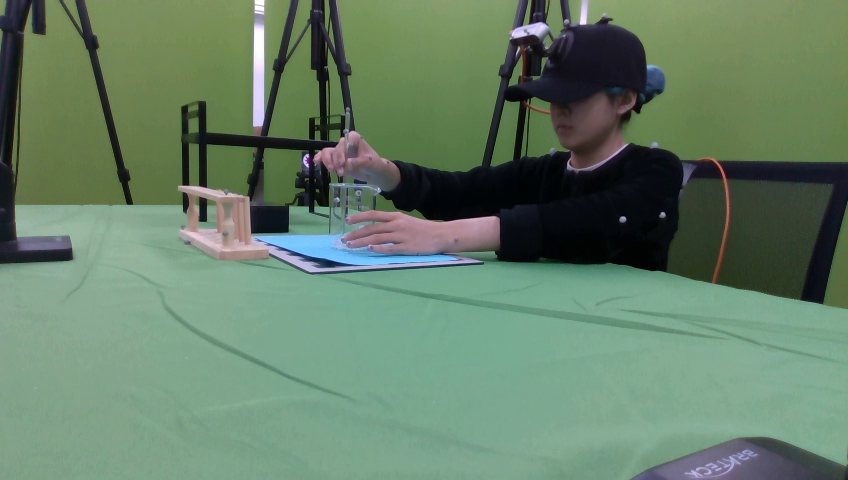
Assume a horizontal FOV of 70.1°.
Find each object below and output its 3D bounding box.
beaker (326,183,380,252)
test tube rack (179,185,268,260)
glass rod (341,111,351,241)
[{"bbox_3d":[-0.108,-0.035,0.921,0.084,0.100,0.074,5,8,14],"label":"beaker"},{"bbox_3d":[-0.303,-0.031,0.898,0.067,0.085,0.241,-2,9,-33],"label":"test tube rack"},{"bbox_3d":[-0.121,-0.096,0.930,0.008,0.199,0.008,4,8,0],"label":"glass rod"}]
